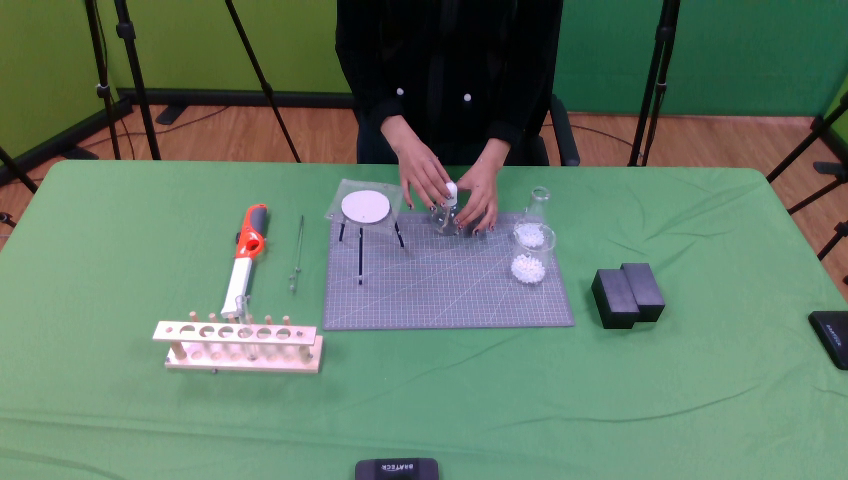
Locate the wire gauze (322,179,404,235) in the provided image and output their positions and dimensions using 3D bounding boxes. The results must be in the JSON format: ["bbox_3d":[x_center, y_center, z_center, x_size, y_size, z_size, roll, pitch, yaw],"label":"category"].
[{"bbox_3d":[-0.106,-0.064,1.078,0.125,0.011,0.121,11,45,5],"label":"wire gauze"}]

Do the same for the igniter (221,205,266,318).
[{"bbox_3d":[-0.338,0.030,1.140,0.057,0.025,0.274,-5,46,4],"label":"igniter"}]

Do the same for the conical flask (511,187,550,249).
[{"bbox_3d":[0.217,-0.048,1.190,0.075,0.122,0.075,2,46,-2],"label":"conical flask"}]

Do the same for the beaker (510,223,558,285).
[{"bbox_3d":[0.199,0.028,1.132,0.083,0.101,0.074,26,50,21],"label":"beaker"}]

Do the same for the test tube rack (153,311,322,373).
[{"bbox_3d":[-0.293,0.160,0.978,0.242,0.085,0.066,3,46,-2],"label":"test tube rack"}]

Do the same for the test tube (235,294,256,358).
[{"bbox_3d":[-0.274,0.136,0.933,0.017,0.151,0.017,4,45,-4],"label":"test tube"}]

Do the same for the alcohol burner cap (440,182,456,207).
[{"bbox_3d":[0.048,-0.091,1.174,0.034,0.048,0.033,0,53,0],"label":"alcohol burner cap"}]

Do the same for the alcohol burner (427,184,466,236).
[{"bbox_3d":[0.047,-0.066,1.201,0.078,0.119,0.077,4,44,-4],"label":"alcohol burner"}]

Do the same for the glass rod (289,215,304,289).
[{"bbox_3d":[-0.246,0.019,1.171,0.008,0.008,0.198,1,44,-3],"label":"glass rod"}]

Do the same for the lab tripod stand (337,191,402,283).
[{"bbox_3d":[-0.106,-0.016,1.125,0.148,0.132,0.147,3,44,-2],"label":"lab tripod stand"}]
